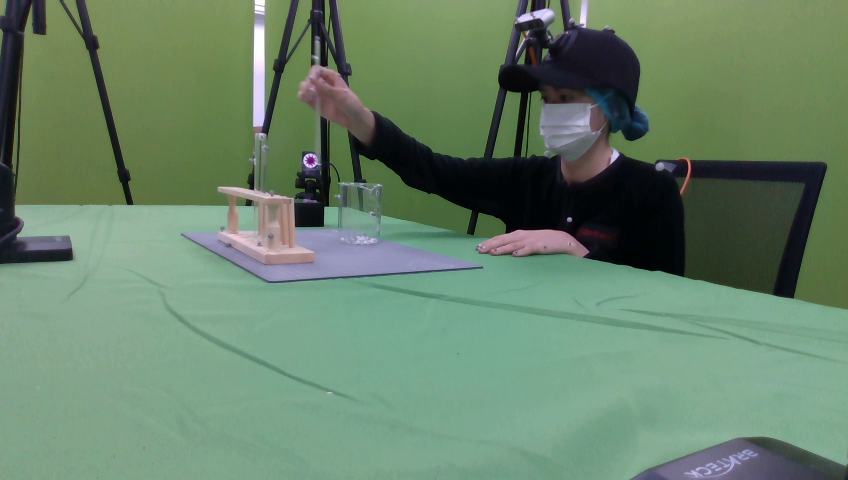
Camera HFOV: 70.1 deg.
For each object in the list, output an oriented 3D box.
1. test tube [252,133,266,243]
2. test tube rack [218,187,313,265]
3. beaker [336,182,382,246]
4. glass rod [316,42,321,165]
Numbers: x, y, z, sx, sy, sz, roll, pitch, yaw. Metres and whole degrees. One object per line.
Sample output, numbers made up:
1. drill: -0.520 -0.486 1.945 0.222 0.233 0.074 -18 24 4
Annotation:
1. test tube: -0.225 -0.070 0.826 0.017 0.150 0.017 2 2 0
2. test tube rack: -0.235 -0.027 0.872 0.067 0.085 0.241 -2 8 -32
3. beaker: -0.107 -0.043 0.996 0.074 0.100 0.083 -2 10 -29
4. glass rod: -0.167 -0.218 0.959 0.008 0.199 0.008 -1 -5 0
